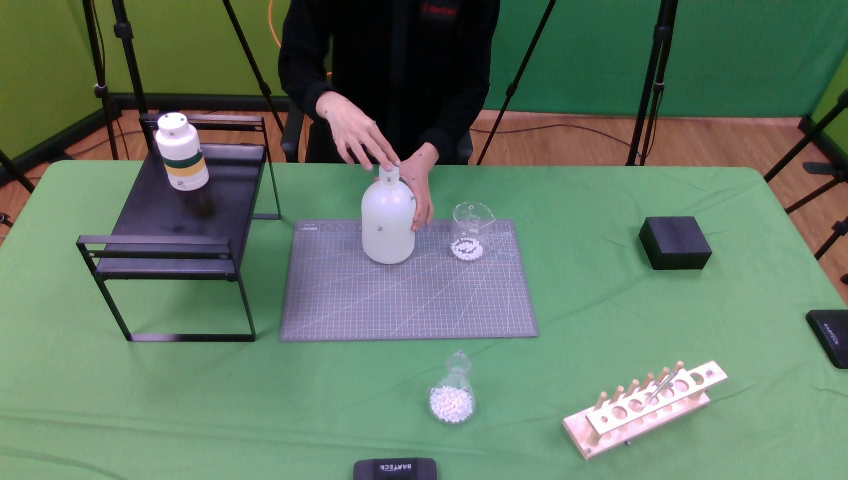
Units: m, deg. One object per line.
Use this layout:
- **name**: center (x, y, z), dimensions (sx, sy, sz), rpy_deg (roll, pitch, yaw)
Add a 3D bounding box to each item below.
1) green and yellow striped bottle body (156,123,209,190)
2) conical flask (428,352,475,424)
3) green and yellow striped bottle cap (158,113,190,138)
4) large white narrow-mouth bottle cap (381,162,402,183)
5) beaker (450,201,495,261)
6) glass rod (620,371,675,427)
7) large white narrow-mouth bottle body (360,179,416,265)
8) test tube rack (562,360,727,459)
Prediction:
- **green and yellow striped bottle body**: center (-0.395, -0.145, 0.989), dimensions (0.063, 0.120, 0.063), rpy_deg (2, 46, -2)
- **conical flask**: center (0.046, 0.220, 0.920), dimensions (0.075, 0.122, 0.075), rpy_deg (2, 46, -2)
- **green and yellow striped bottle cap**: center (-0.393, -0.180, 0.951), dimensions (0.045, 0.020, 0.045), rpy_deg (2, 44, -2)
- **large white narrow-mouth bottle cap**: center (-0.056, -0.118, 1.050), dimensions (0.038, 0.024, 0.037), rpy_deg (4, 45, -4)
- **beaker**: center (0.089, -0.014, 1.160), dimensions (0.084, 0.101, 0.073), rpy_deg (9, 47, 4)
- **glass rod**: center (0.316, 0.230, 0.863), dimensions (0.008, 0.200, 0.008), rpy_deg (3, 54, -3)
- **large white narrow-mouth bottle body**: center (-0.066, -0.049, 1.119), dimensions (0.102, 0.195, 0.101), rpy_deg (4, 45, -4)
- **test tube rack**: center (0.341, 0.247, 0.940), dimensions (0.243, 0.085, 0.066), rpy_deg (-16, 49, -18)
